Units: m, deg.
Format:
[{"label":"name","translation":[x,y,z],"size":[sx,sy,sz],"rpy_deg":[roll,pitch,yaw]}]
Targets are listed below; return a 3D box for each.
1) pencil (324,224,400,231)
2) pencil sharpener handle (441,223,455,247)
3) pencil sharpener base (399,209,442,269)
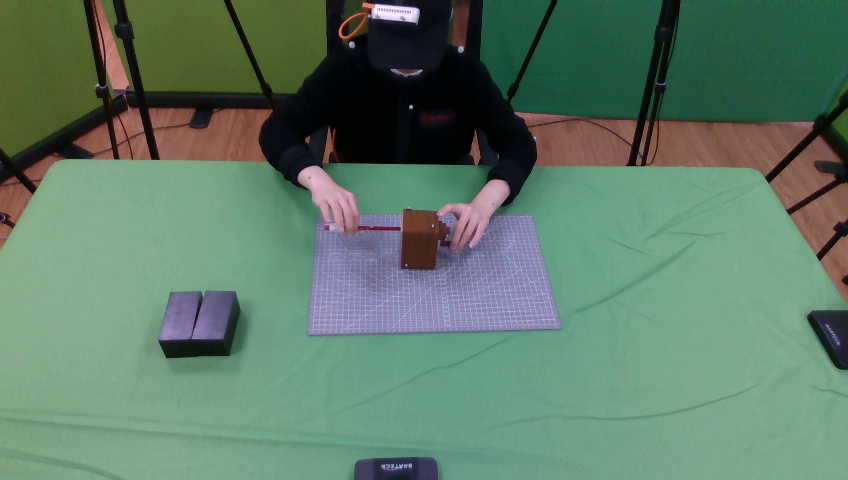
[{"label":"pencil","translation":[-0.087,-0.021,1.112],"size":[0.194,0.012,0.012],"rpy_deg":[2,46,-2]},{"label":"pencil sharpener handle","translation":[0.045,-0.009,1.129],"size":[0.030,0.068,0.036],"rpy_deg":[2,55,-2]},{"label":"pencil sharpener base","translation":[-0.007,0.000,1.134],"size":[0.077,0.107,0.061],"rpy_deg":[2,45,-2]}]
